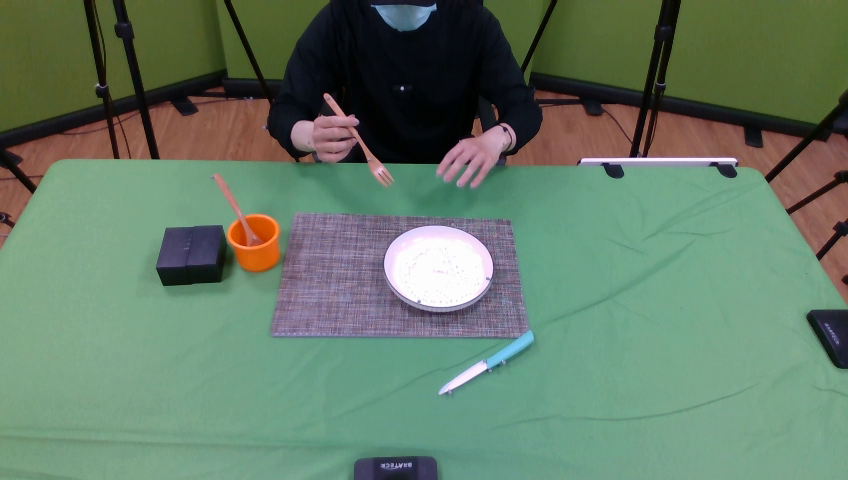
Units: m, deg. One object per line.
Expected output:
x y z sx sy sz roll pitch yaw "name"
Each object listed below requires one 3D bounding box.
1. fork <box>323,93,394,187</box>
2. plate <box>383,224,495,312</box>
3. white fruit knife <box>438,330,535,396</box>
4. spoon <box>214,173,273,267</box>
-0.124 -0.187 1.136 0.028 0.208 0.018 -41 17 -18 "fork"
0.026 0.055 1.128 0.209 0.038 0.208 2 46 -2 "plate"
0.108 0.206 1.009 0.207 0.016 0.027 -27 30 -22 "white fruit knife"
-0.336 -0.037 1.121 0.041 0.194 0.021 -29 10 -25 "spoon"
